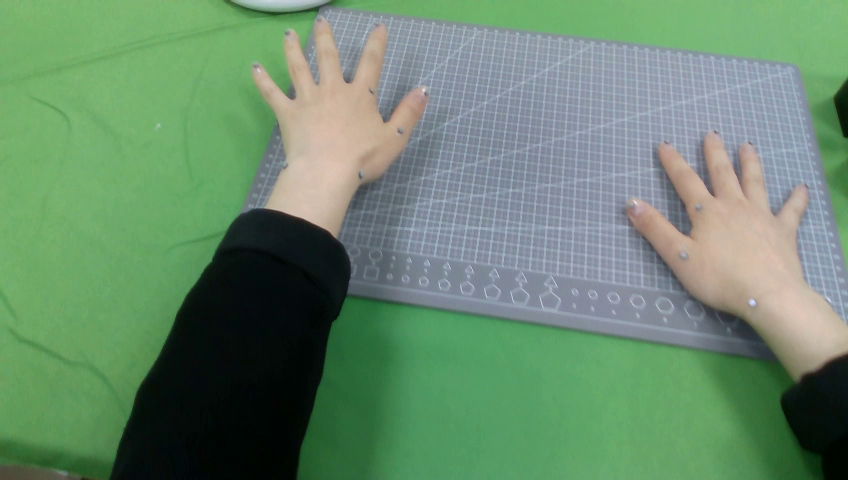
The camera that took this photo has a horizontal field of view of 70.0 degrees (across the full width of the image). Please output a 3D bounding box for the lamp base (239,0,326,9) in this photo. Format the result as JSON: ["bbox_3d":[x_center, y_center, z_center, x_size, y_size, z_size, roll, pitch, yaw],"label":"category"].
[{"bbox_3d":[-0.143,-0.336,0.548,0.161,0.182,0.177,-28,60,-18],"label":"lamp base"}]
